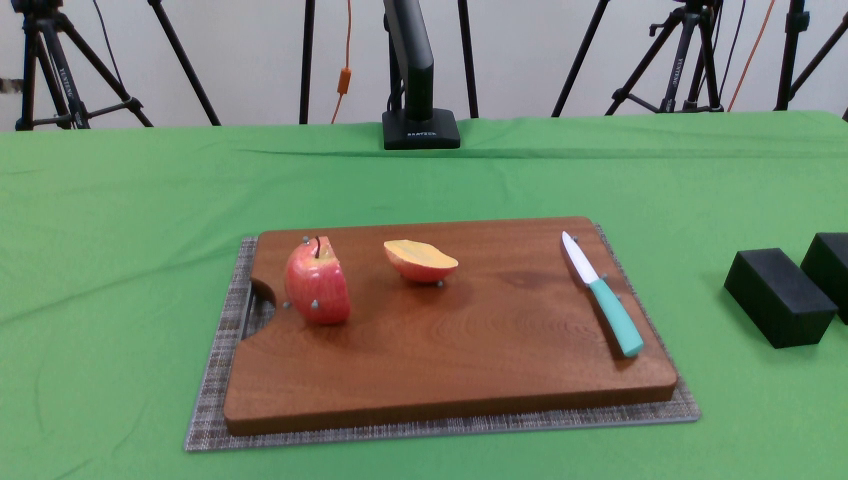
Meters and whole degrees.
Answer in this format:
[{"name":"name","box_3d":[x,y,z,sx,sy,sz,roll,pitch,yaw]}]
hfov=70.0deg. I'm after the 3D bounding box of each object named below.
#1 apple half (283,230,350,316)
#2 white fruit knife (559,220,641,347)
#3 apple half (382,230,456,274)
[{"name":"apple half","box_3d":[-0.107,0.036,0.583,0.053,0.075,0.080,-18,45,-15]},{"name":"white fruit knife","box_3d":[0.179,0.036,0.634,0.027,0.016,0.205,8,34,-16]},{"name":"apple half","box_3d":[-0.011,0.018,0.634,0.081,0.033,0.081,16,17,-5]}]
